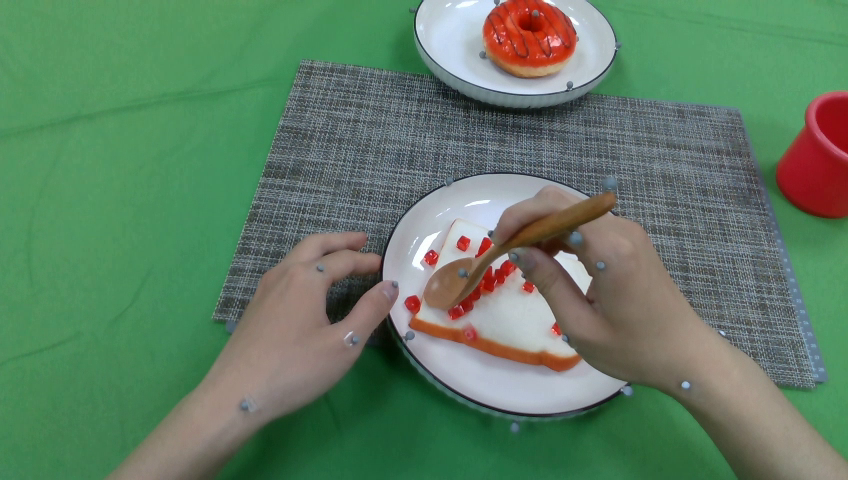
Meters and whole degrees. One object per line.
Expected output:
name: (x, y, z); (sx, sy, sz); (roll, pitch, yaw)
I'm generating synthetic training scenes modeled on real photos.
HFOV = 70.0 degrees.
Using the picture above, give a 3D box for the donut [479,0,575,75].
donut: (0.105, -0.208, 0.618); (0.099, 0.048, 0.098); (3, 56, -4)

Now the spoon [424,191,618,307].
spoon: (0.046, 0.008, 0.363); (0.022, 0.194, 0.041); (31, 64, -11)

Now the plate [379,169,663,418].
plate: (0.070, 0.035, 0.457); (0.209, 0.038, 0.207); (2, 55, -3)

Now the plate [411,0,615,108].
plate: (0.089, -0.204, 0.628); (0.208, 0.039, 0.205); (3, 53, -3)

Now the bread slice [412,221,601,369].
bread slice: (0.067, 0.040, 0.458); (0.131, 0.019, 0.104); (15, 56, 9)
